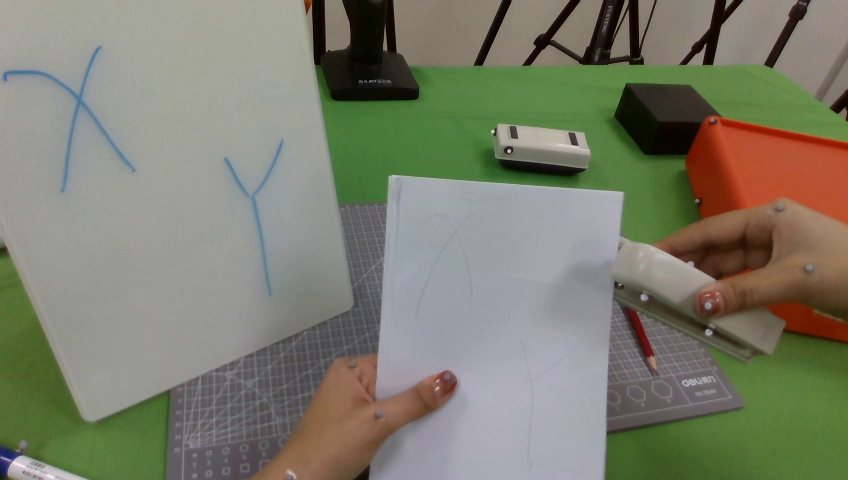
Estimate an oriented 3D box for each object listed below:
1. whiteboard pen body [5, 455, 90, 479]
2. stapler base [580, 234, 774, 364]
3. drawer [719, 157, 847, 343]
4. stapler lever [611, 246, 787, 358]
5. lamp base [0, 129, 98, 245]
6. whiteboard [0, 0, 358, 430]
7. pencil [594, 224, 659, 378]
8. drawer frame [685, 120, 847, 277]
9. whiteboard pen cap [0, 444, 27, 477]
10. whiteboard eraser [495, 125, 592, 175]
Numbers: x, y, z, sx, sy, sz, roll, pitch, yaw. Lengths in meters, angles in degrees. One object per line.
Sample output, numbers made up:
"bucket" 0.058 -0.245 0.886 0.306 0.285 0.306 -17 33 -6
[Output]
"whiteboard pen body" -0.217 0.156 0.379 0.140 0.017 0.017 16 41 8
"stapler base" 0.167 0.038 0.393 0.130 0.041 0.024 25 1 -2
"drawer" 0.406 0.007 0.626 0.194 0.074 0.210 11 41 2
"stapler lever" 0.169 0.038 0.368 0.118 0.027 0.040 25 1 -2
"lamp base" -0.398 -0.111 0.522 0.178 0.182 0.160 22 43 17
"whiteboard" -0.196 -0.061 0.455 0.218 0.308 0.142 -21 30 -30
"pencil" 0.193 0.051 0.583 0.012 0.012 0.192 3 43 -8
"drawer frame" 0.416 -0.034 0.672 0.201 0.083 0.212 10 40 2
"whiteboard pen cap" -0.273 0.139 0.387 0.033 0.018 0.018 15 41 9
"whiteboard eraser" 0.143 -0.108 0.733 0.113 0.042 0.055 7 43 -4
